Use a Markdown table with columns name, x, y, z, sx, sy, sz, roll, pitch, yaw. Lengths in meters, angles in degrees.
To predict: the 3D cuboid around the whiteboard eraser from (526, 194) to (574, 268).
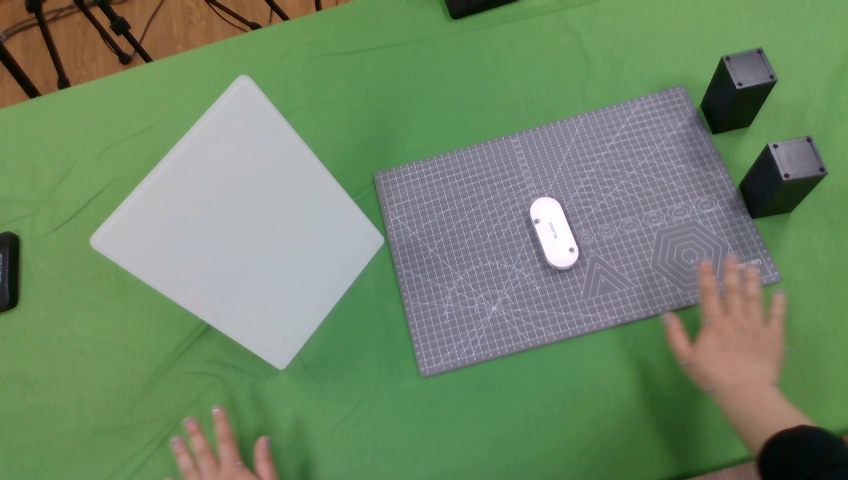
| name | x | y | z | sx | sy | sz | roll | pitch | yaw |
| --- | --- | --- | --- | --- | --- | --- | --- | --- | --- |
| whiteboard eraser | 0.162 | -0.013 | 0.778 | 0.041 | 0.019 | 0.100 | -16 | 67 | 1 |

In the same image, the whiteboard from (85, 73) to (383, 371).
| name | x | y | z | sx | sy | sz | roll | pitch | yaw |
| --- | --- | --- | --- | --- | --- | --- | --- | --- | --- |
| whiteboard | -0.225 | -0.023 | 0.717 | 0.142 | 0.309 | 0.217 | 27 | 73 | 38 |
